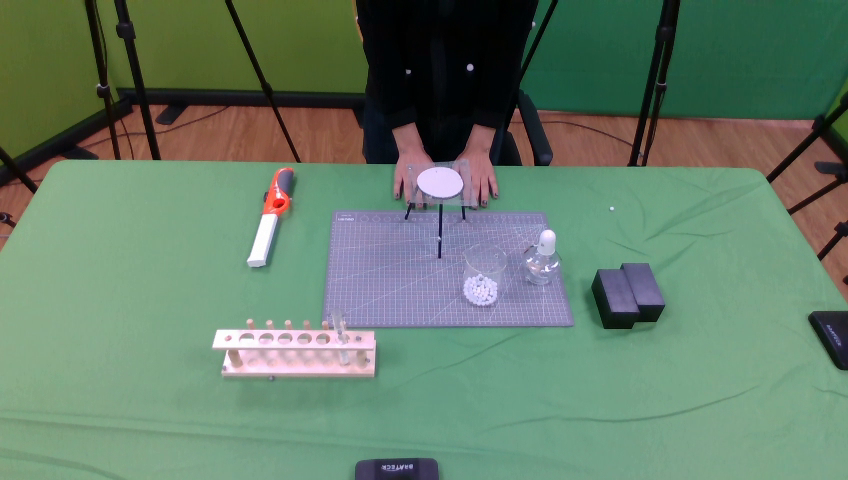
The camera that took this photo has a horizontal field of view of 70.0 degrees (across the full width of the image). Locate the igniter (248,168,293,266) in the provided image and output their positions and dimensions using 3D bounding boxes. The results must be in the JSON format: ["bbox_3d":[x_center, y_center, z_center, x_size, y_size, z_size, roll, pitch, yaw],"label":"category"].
[{"bbox_3d":[-0.307,-0.055,1.225,0.057,0.025,0.275,-3,45,6],"label":"igniter"}]

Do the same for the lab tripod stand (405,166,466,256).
[{"bbox_3d":[0.030,-0.063,1.180,0.148,0.132,0.147,3,47,-3],"label":"lab tripod stand"}]

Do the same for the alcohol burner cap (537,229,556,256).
[{"bbox_3d":[0.223,0.001,1.095,0.034,0.048,0.033,0,44,1],"label":"alcohol burner cap"}]

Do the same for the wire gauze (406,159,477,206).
[{"bbox_3d":[0.031,-0.108,1.129,0.125,0.011,0.120,-1,48,-5],"label":"wire gauze"}]

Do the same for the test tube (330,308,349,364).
[{"bbox_3d":[-0.129,0.151,0.931,0.017,0.151,0.017,0,50,0],"label":"test tube"}]

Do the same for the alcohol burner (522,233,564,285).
[{"bbox_3d":[0.223,0.027,1.121,0.078,0.119,0.077,2,48,-2],"label":"alcohol burner"}]

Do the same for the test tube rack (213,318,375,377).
[{"bbox_3d":[-0.202,0.169,0.977,0.242,0.085,0.066,1,46,-3],"label":"test tube rack"}]

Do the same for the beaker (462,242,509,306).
[{"bbox_3d":[0.105,0.064,1.087,0.084,0.101,0.073,18,47,14],"label":"beaker"}]
